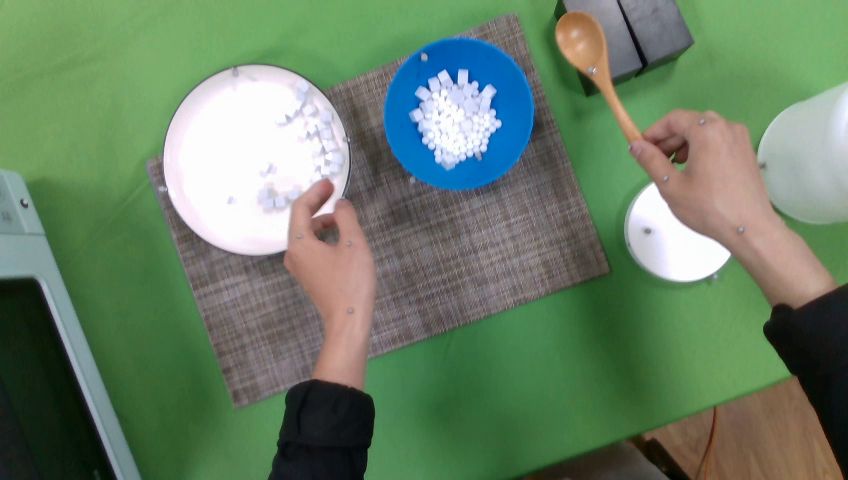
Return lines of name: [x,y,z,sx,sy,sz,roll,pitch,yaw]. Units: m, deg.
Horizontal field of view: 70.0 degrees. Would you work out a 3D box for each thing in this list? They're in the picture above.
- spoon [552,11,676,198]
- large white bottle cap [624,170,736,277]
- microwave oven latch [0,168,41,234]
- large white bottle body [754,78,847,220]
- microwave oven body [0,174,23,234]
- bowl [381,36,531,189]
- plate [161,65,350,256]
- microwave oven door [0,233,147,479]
spoon: [0.168,-0.120,0.537,0.041,0.022,0.192,-35,73,39]
large white bottle cap: [0.275,-0.017,0.652,0.115,0.018,0.114,0,90,3]
microwave oven latch: [-0.462,-0.041,0.677,0.030,0.029,0.079,-23,89,3]
large white bottle body: [0.409,-0.087,0.558,0.130,0.185,0.130,0,90,5]
microwave oven body: [-0.538,0.179,0.587,0.326,0.260,0.441,-23,89,3]
bowl: [0.034,-0.125,0.635,0.151,0.077,0.151,0,90,4]
plate: [-0.182,-0.086,0.671,0.209,0.038,0.209,0,90,4]
microwave oven door: [-0.387,0.161,0.572,0.039,0.244,0.355,-23,88,4]
